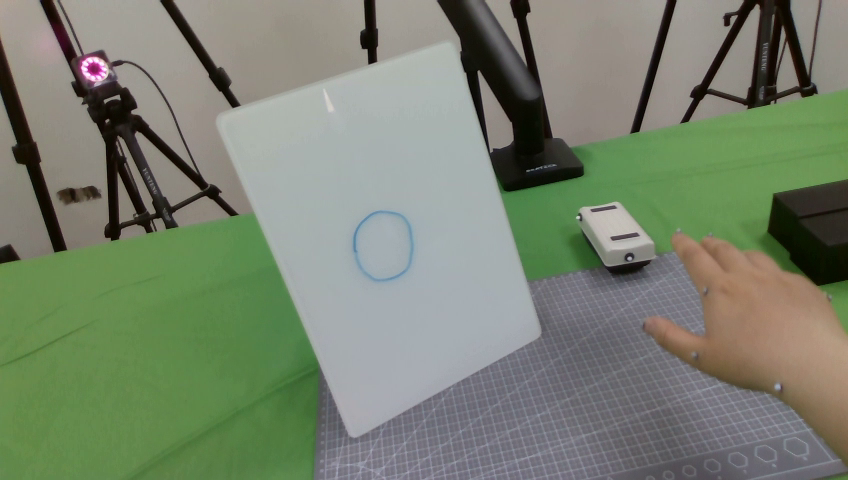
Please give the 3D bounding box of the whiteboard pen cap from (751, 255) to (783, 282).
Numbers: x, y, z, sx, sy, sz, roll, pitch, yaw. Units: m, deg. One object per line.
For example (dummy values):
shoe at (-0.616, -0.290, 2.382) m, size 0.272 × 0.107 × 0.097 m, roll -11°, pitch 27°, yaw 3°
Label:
whiteboard pen cap at (0.355, 0.031, 0.626) m, size 0.018 × 0.018 × 0.033 m, roll -13°, pitch 32°, yaw -2°

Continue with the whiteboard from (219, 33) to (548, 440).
whiteboard at (-0.041, -0.010, 0.596) m, size 0.217 × 0.307 × 0.143 m, roll -24°, pitch 16°, yaw -18°

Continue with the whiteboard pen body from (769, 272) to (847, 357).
whiteboard pen body at (0.364, 0.063, 0.578) m, size 0.017 × 0.017 × 0.139 m, roll -13°, pitch 33°, yaw -2°

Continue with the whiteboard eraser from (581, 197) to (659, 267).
whiteboard eraser at (0.224, -0.010, 0.703) m, size 0.055 × 0.042 × 0.111 m, roll -12°, pitch 30°, yaw 2°
